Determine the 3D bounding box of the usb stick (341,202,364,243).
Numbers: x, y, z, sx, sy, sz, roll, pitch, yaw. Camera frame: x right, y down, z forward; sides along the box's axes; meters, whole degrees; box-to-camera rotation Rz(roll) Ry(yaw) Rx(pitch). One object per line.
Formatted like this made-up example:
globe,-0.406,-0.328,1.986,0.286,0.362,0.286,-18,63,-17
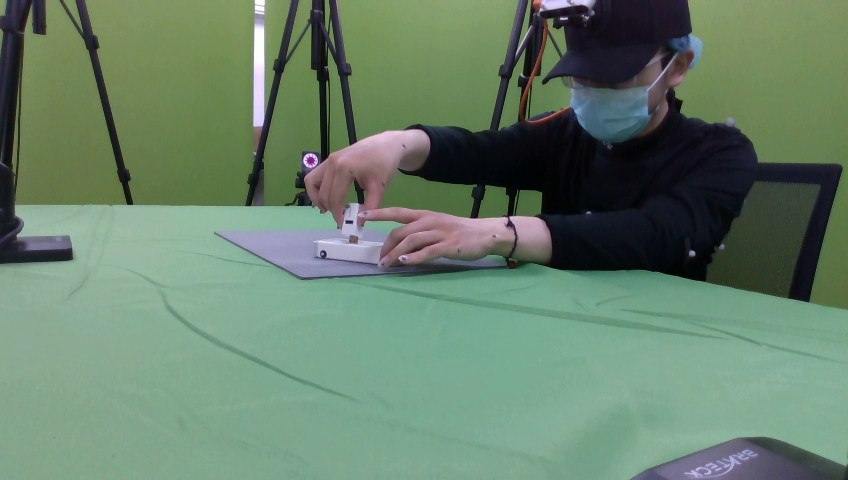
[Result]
usb stick,-0.097,-0.020,0.819,0.021,0.059,0.027,5,-2,19

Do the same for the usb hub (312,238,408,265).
usb hub,-0.089,0.015,0.829,0.125,0.025,0.050,5,7,22
